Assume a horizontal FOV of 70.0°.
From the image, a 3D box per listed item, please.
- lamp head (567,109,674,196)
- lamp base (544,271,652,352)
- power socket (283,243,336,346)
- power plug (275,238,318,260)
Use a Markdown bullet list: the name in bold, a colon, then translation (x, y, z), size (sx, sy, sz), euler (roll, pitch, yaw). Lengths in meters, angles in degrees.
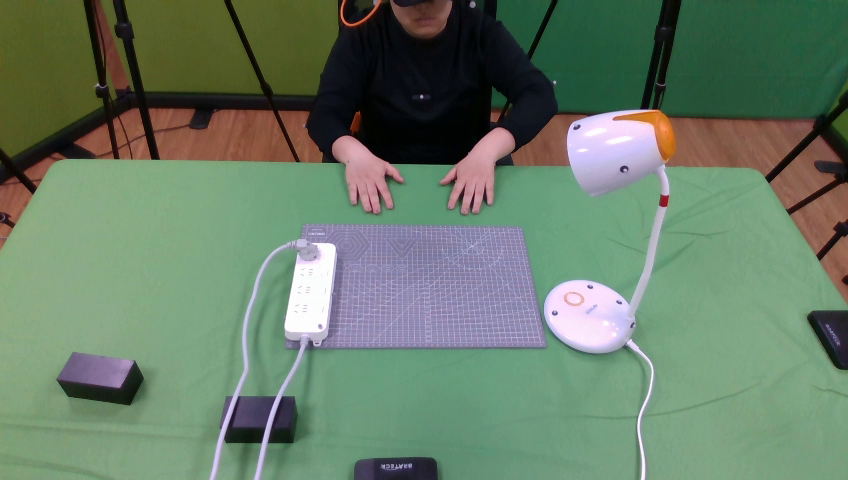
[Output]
- **lamp head**: translation (0.272, -0.123, 0.818), size (0.122, 0.113, 0.112), euler (-9, 35, 37)
- **lamp base**: translation (0.310, 0.086, 1.029), size (0.178, 0.181, 0.160), euler (32, 52, 21)
- **power socket**: translation (-0.203, 0.088, 1.086), size (0.072, 0.033, 0.225), euler (1, 46, -2)
- **power plug**: translation (-0.232, 0.018, 1.120), size (0.072, 0.053, 0.035), euler (9, 46, 6)
